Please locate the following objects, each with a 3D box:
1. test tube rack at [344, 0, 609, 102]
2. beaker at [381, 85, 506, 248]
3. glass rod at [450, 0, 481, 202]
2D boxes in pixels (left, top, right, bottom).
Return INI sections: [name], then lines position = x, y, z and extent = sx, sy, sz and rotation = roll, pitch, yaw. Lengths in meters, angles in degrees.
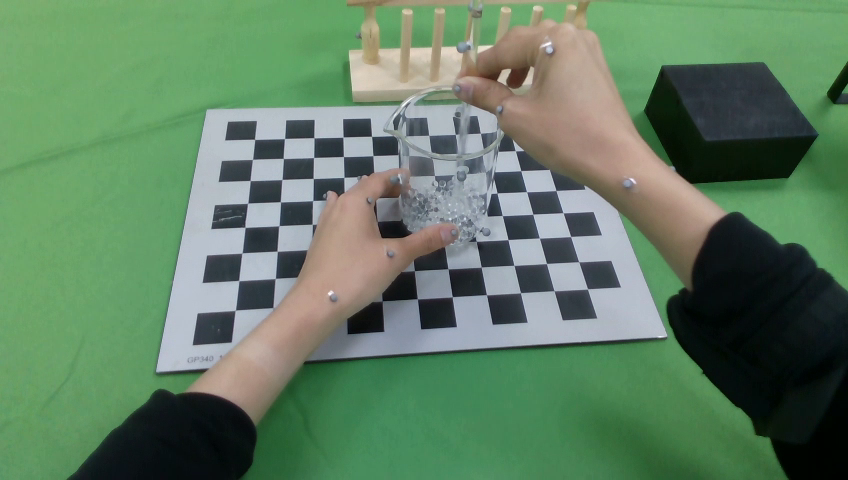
[test tube rack]
position = 0.049, -0.189, 0.569
extent = 0.243, 0.086, 0.066
rotation = -4, 51, -7
[beaker]
position = 0.012, -0.049, 0.440
extent = 0.084, 0.101, 0.073
rotation = -2, 51, -4
[glass rod]
position = 0.026, -0.088, 0.402
extent = 0.008, 0.201, 0.008
rotation = 1, 56, -1
